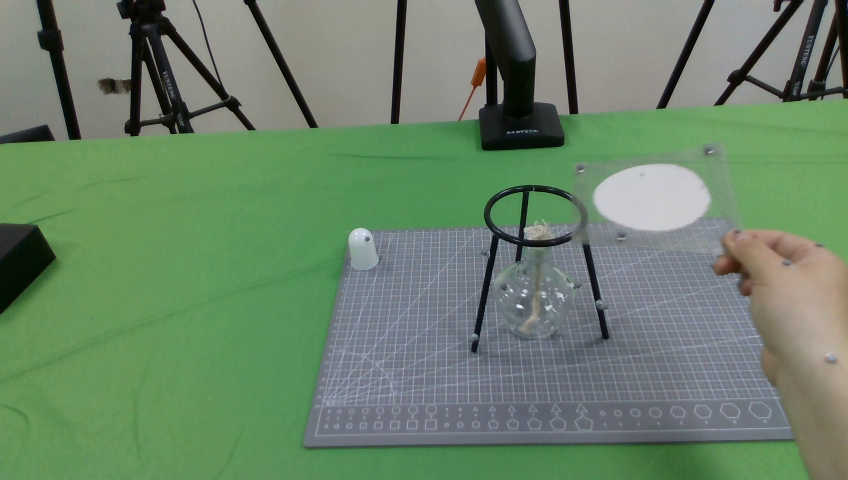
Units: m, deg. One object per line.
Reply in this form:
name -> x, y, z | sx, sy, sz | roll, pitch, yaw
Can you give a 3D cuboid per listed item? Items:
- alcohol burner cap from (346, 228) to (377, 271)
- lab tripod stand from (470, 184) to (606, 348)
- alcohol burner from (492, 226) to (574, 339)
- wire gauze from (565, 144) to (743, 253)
alcohol burner cap -> -0.071, 0.008, 0.681 | 0.034, 0.048, 0.033 | -2, 39, 2
lab tripod stand -> 0.104, 0.025, 0.565 | 0.148, 0.132, 0.147 | -2, 37, 2
alcohol burner -> 0.103, 0.035, 0.568 | 0.078, 0.120, 0.077 | -1, 38, 2
wire gauze -> 0.176, -0.034, 0.484 | 0.125, 0.011, 0.120 | -3, 42, 17
